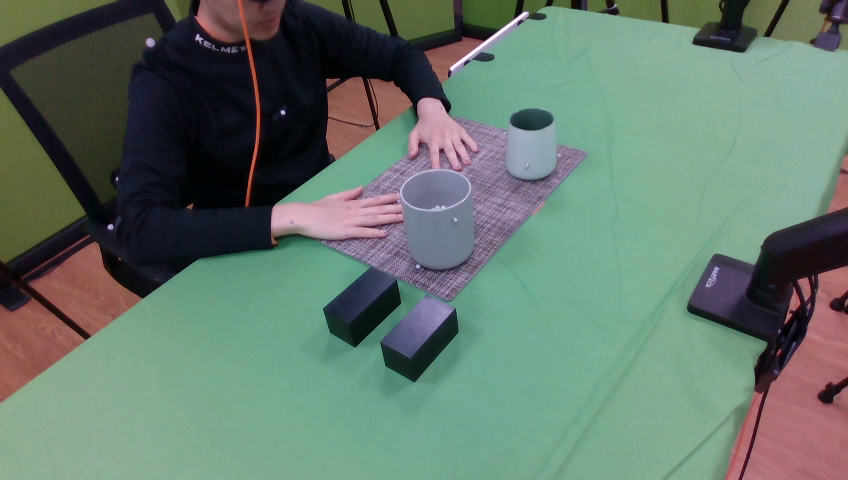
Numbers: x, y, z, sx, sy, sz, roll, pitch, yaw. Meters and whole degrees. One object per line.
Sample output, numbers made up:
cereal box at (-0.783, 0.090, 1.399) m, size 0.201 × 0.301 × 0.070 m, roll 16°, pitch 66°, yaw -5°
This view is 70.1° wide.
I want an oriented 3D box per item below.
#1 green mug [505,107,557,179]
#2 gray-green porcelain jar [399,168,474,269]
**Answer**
green mug at (0.189, -0.180, 1.082) m, size 0.092 × 0.105 × 0.124 m, roll -6°, pitch 41°, yaw 2°
gray-green porcelain jar at (0.022, -0.027, 0.911) m, size 0.106 × 0.127 × 0.105 m, roll -4°, pitch 41°, yaw 4°
